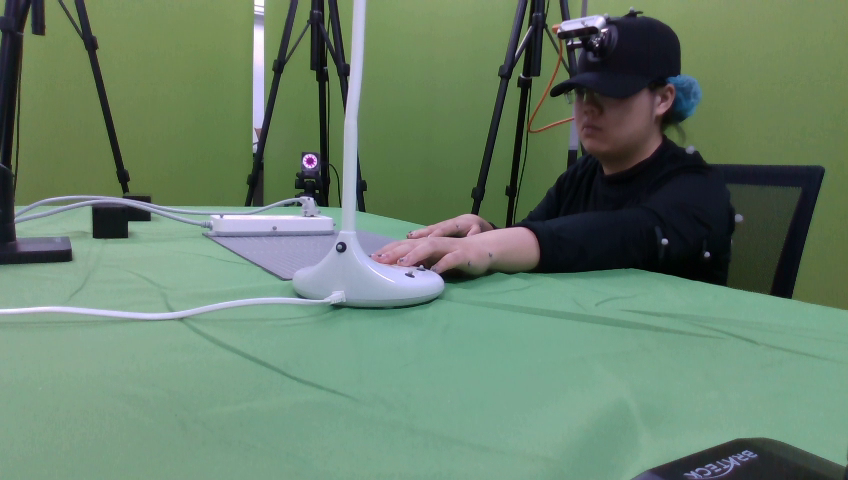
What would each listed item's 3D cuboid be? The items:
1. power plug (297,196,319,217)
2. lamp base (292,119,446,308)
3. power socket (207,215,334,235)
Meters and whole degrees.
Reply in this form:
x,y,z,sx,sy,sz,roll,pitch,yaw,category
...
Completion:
x,y,z,sx,sy,sz,roll,pitch,yaw,category
-0.219,-0.056,1.142,0.035,0.052,0.072,0,7,-19,power plug
-0.056,-0.030,0.616,0.160,0.180,0.179,4,10,8,lamp base
-0.270,-0.028,1.082,0.228,0.032,0.072,-2,7,-30,power socket
